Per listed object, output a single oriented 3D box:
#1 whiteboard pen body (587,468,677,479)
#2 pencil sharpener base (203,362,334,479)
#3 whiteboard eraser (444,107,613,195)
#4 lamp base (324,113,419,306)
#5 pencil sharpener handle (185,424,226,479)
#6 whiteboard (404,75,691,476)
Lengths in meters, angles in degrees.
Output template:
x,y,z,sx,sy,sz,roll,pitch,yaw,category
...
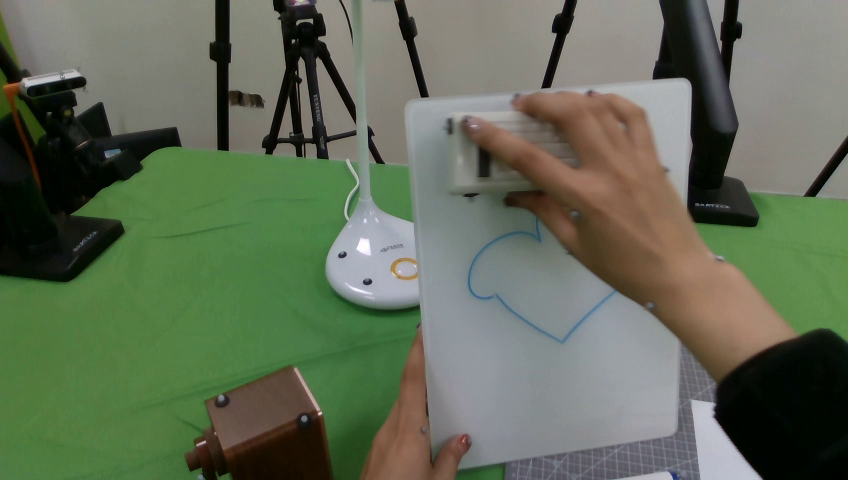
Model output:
x,y,z,sx,sy,sz,roll,pitch,yaw,category
0.129,0.195,0.471,0.141,0.017,0.017,-6,35,-7,whiteboard pen body
-0.117,0.159,0.459,0.077,0.108,0.060,-19,39,-24,pencil sharpener base
0.070,-0.060,0.411,0.113,0.056,0.041,-4,12,-11,whiteboard eraser
-0.047,-0.043,0.691,0.161,0.182,0.177,-23,38,-29,lamp base
-0.159,0.165,0.428,0.031,0.068,0.035,-19,26,-24,pencil sharpener handle
0.095,0.019,0.538,0.217,0.307,0.143,-6,15,-6,whiteboard
